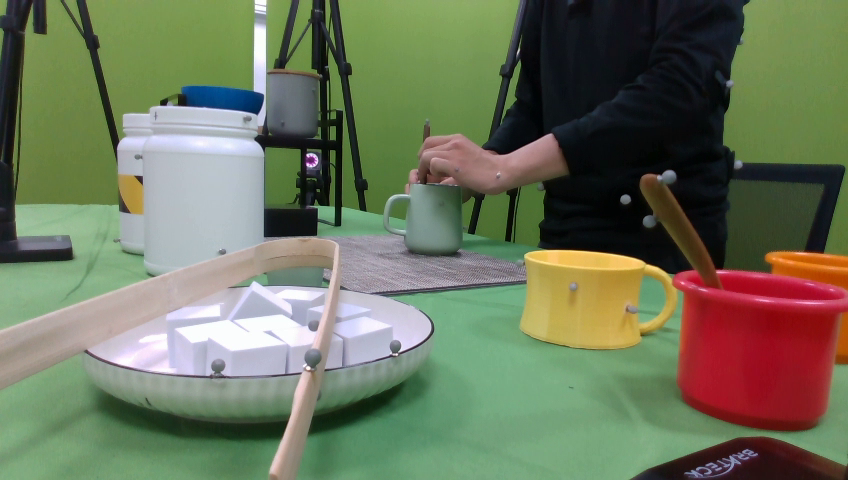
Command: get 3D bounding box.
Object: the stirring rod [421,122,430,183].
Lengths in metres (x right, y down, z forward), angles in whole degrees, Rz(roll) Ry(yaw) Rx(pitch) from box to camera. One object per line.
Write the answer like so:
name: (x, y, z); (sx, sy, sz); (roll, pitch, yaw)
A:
stirring rod: (0.000, -0.088, 0.906); (0.006, 0.176, 0.014); (-4, 12, -33)

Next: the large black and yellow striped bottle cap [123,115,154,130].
large black and yellow striped bottle cap: (-0.353, -0.159, 0.837); (0.115, 0.019, 0.115); (2, 6, 0)

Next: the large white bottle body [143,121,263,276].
large white bottle body: (-0.254, -0.054, 0.702); (0.131, 0.184, 0.130); (2, 8, 0)

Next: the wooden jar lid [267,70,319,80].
wooden jar lid: (-0.275, -0.340, 1.271); (0.108, 0.020, 0.108); (5, 6, 0)

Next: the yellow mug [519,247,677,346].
yellow mug: (0.148, 0.045, 0.513); (0.131, 0.064, 0.100); (3, 7, 0)

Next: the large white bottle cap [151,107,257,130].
large white bottle cap: (-0.250, -0.138, 0.692); (0.115, 0.018, 0.115); (3, 7, 0)

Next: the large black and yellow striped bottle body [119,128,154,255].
large black and yellow striped bottle body: (-0.355, -0.076, 0.850); (0.131, 0.184, 0.130); (2, 8, 0)

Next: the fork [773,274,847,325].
fork: (0.332, 0.018, 0.443); (0.028, 0.018, 0.207); (-1, -36, -14)

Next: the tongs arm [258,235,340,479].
tongs arm: (-0.074, 0.040, 0.345); (0.051, 0.026, 0.384); (-1, 10, -3)

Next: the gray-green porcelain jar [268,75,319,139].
gray-green porcelain jar: (-0.277, -0.279, 1.280); (0.106, 0.126, 0.106); (2, 8, 0)

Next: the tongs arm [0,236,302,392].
tongs arm: (-0.157, 0.038, 0.347); (0.028, 0.028, 0.388); (-2, 8, 11)

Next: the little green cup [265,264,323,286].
little green cup: (-0.135, 0.034, 0.627); (0.061, 0.038, 0.061); (3, 6, 0)

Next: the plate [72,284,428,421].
plate: (-0.102, 0.067, 0.381); (0.208, 0.039, 0.207); (3, 7, 0)

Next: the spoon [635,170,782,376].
spoon: (0.161, 0.026, 0.346); (0.041, 0.194, 0.021); (9, 55, 53)

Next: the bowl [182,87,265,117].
bowl: (-0.383, -0.244, 1.158); (0.151, 0.077, 0.151); (2, 7, 0)

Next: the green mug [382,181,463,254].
green mug: (-0.001, -0.036, 0.922); (0.126, 0.105, 0.092); (0, 8, -16)
